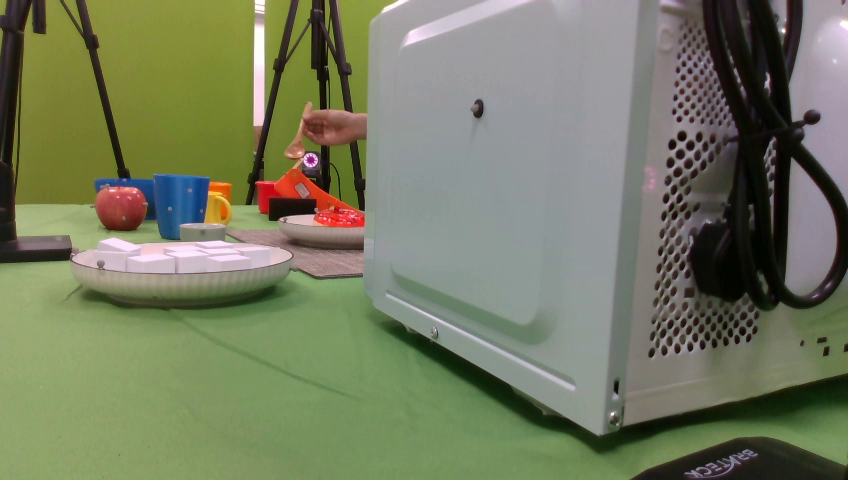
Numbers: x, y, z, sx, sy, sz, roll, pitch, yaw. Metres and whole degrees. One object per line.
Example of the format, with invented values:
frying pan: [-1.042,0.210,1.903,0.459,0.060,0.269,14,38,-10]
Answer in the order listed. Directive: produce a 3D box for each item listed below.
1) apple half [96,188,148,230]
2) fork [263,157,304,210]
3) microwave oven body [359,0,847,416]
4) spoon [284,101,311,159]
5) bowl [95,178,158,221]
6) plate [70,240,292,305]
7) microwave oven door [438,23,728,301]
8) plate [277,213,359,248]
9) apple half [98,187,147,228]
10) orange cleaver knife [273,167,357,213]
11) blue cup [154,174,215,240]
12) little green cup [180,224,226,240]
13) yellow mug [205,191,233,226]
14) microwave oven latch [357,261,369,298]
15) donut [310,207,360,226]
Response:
apple half: [-0.517,-0.052,1.036,0.081,0.074,0.053,3,10,-26]
fork: [-0.345,-0.143,1.505,0.028,0.019,0.207,-6,45,29]
microwave oven body: [0.211,-0.047,0.474,0.444,0.260,0.324,-1,7,-28]
spoon: [-0.274,-0.248,1.348,0.041,0.193,0.021,6,-35,1]
bowl: [-0.576,-0.081,1.217,0.151,0.077,0.151,3,8,0]
plate: [-0.242,0.031,0.618,0.208,0.039,0.207,2,8,0]
microwave oven door: [0.181,-0.072,0.620,0.358,0.243,0.039,-2,8,-29]
plate: [-0.135,-0.017,0.992,0.209,0.038,0.209,2,8,0]
apple half: [-0.534,-0.059,1.071,0.082,0.081,0.032,-1,10,-25]
orange cleaver knife: [-0.238,-0.091,1.381,0.212,0.077,0.012,31,0,-19]
blue cup: [-0.391,-0.054,0.978,0.093,0.100,0.092,4,6,0]
little green cup: [-0.309,-0.001,0.846,0.061,0.038,0.061,2,8,0]
yellow mug: [-0.415,-0.057,1.131,0.130,0.064,0.100,6,7,16]
microwave oven latch: [-0.019,0.034,0.530,0.079,0.029,0.030,0,7,-25]
donut: [-0.137,-0.029,0.995,0.099,0.048,0.099,4,9,0]
